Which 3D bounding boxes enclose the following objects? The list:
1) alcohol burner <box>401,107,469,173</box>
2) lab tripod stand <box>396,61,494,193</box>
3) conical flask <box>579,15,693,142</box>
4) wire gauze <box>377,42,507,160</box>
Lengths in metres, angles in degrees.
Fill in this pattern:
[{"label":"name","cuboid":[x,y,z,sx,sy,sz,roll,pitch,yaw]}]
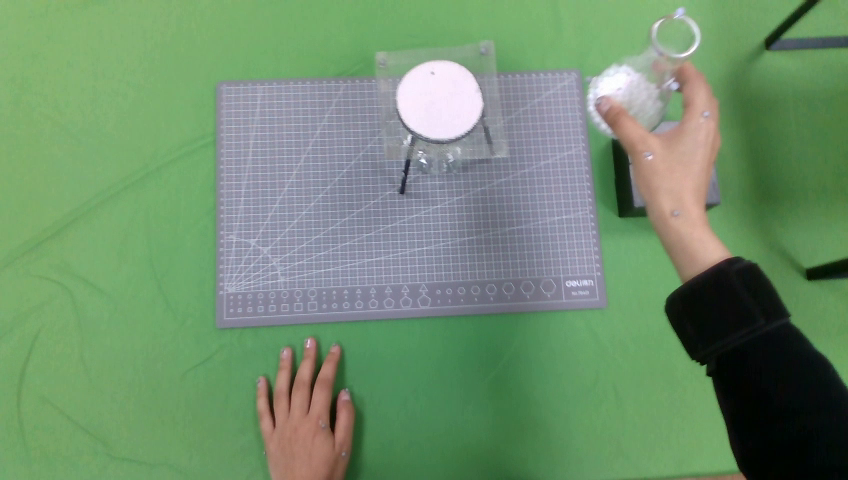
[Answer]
[{"label":"alcohol burner","cuboid":[0.013,-0.119,0.679,0.078,0.119,0.077,0,79,0]},{"label":"lab tripod stand","cuboid":[0.012,-0.129,0.671,0.148,0.132,0.147,0,79,0]},{"label":"conical flask","cuboid":[0.180,-0.136,0.504,0.075,0.122,0.075,0,79,0]},{"label":"wire gauze","cuboid":[0.017,-0.138,0.604,0.125,0.011,0.121,-3,79,-2]}]
